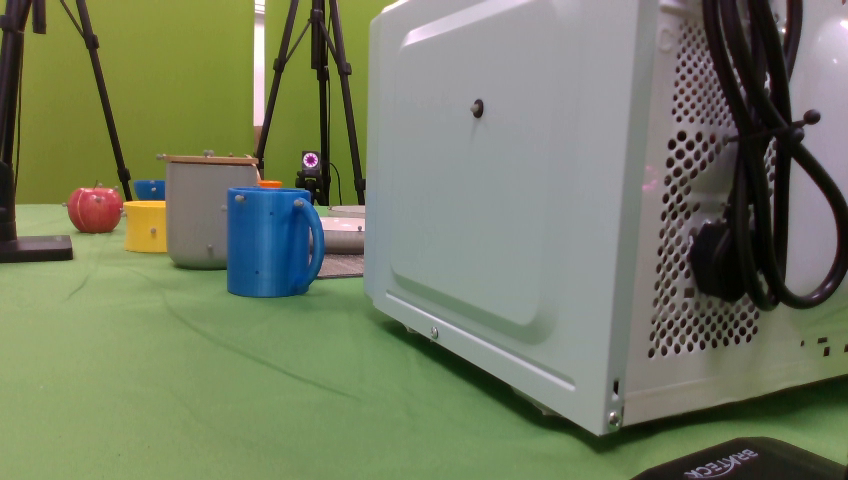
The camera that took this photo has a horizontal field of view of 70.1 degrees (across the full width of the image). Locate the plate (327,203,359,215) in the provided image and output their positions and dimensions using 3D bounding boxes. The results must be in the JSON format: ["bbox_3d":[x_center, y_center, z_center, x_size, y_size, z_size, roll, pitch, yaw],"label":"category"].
[{"bbox_3d":[-0.102,-0.053,1.299,0.209,0.038,0.209,2,8,0],"label":"plate"}]

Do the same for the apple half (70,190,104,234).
[{"bbox_3d":[-0.552,-0.047,1.010,0.053,0.074,0.081,0,10,26],"label":"apple half"}]

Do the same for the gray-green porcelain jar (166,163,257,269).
[{"bbox_3d":[-0.263,-0.031,0.754,0.106,0.126,0.106,2,7,0],"label":"gray-green porcelain jar"}]

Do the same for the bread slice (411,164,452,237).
[{"bbox_3d":[0.016,-0.071,1.100,0.018,0.134,0.107,1,0,38],"label":"bread slice"}]

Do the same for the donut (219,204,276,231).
[{"bbox_3d":[-0.316,-0.039,1.083,0.099,0.048,0.099,3,7,0],"label":"donut"}]

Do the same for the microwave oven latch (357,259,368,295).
[{"bbox_3d":[-0.019,0.031,0.529,0.079,0.029,0.030,-1,7,-26],"label":"microwave oven latch"}]

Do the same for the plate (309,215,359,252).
[{"bbox_3d":[-0.130,-0.011,0.945,0.208,0.039,0.207,2,7,0],"label":"plate"}]

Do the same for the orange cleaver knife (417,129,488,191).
[{"bbox_3d":[0.056,-0.133,1.129,0.012,0.077,0.212,10,-13,40],"label":"orange cleaver knife"}]

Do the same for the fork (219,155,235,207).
[{"bbox_3d":[-0.459,-0.134,1.415,0.028,0.018,0.207,-1,-34,-25],"label":"fork"}]

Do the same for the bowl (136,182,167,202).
[{"bbox_3d":[-0.497,-0.076,1.221,0.151,0.077,0.151,2,8,0],"label":"bowl"}]

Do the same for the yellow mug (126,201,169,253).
[{"bbox_3d":[-0.361,-0.019,0.866,0.130,0.064,0.100,6,9,27],"label":"yellow mug"}]

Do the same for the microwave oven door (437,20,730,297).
[{"bbox_3d":[0.181,-0.076,0.618,0.358,0.243,0.039,-2,9,-28],"label":"microwave oven door"}]

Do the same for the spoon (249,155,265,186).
[{"bbox_3d":[-0.417,-0.150,1.543,0.042,0.193,0.021,-4,-35,-34],"label":"spoon"}]

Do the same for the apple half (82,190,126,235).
[{"bbox_3d":[-0.516,-0.046,0.994,0.032,0.081,0.081,0,6,26],"label":"apple half"}]

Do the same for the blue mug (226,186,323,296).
[{"bbox_3d":[-0.148,0.000,0.618,0.116,0.106,0.083,7,9,33],"label":"blue mug"}]

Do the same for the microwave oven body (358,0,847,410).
[{"bbox_3d":[0.210,-0.051,0.471,0.444,0.260,0.324,-1,7,-28],"label":"microwave oven body"}]

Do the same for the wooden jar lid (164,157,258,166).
[{"bbox_3d":[-0.261,-0.093,0.746,0.108,0.020,0.108,0,9,0],"label":"wooden jar lid"}]

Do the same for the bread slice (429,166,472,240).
[{"bbox_3d":[0.049,-0.063,1.060,0.019,0.131,0.105,7,8,40],"label":"bread slice"}]
